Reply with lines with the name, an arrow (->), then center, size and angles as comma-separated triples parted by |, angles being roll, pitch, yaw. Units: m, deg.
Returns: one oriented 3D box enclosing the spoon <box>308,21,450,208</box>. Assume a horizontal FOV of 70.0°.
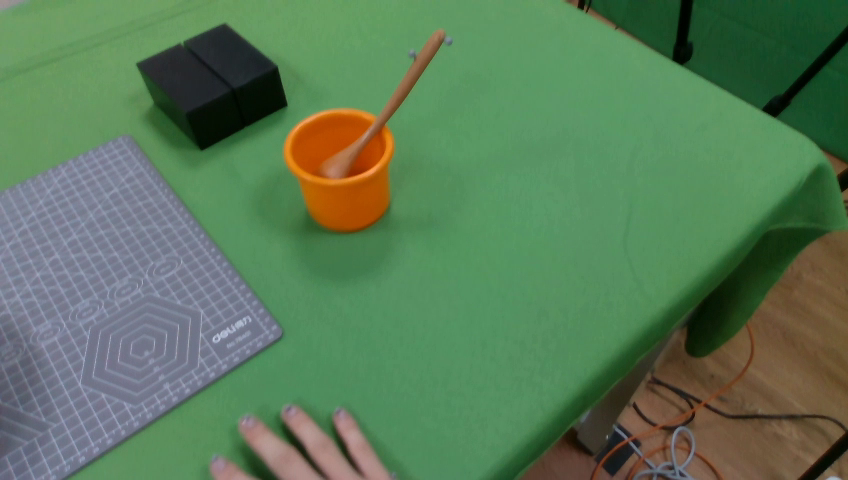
spoon -> -0.042, -0.103, 0.510 | 0.194, 0.022, 0.041 | -47, 57, 17
